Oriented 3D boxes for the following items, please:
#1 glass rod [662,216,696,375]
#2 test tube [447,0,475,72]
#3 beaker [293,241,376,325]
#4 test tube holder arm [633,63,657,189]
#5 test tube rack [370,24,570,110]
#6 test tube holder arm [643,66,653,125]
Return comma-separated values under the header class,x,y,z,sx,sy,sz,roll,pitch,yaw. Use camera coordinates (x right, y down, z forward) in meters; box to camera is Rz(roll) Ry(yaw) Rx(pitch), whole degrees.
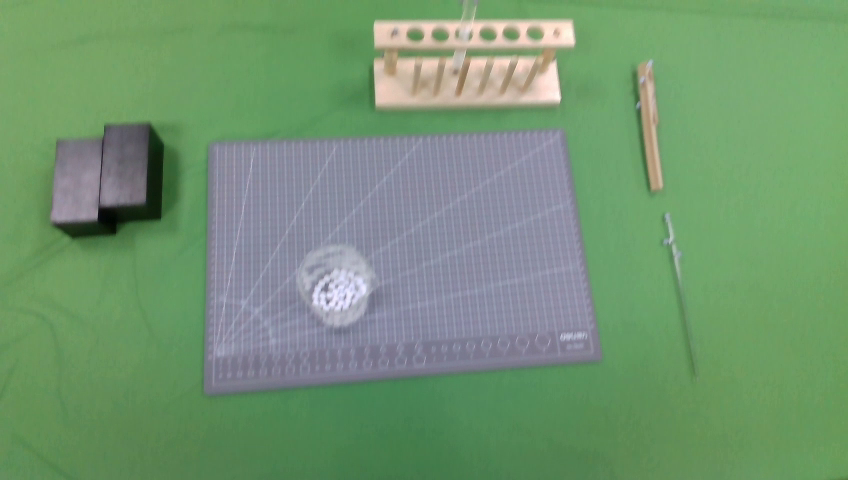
class,x,y,z,sx,sy,sz,roll,pitch,yaw
glass rod,0.311,0.064,0.741,0.008,0.008,0.198,-2,73,-6
test tube,0.044,-0.251,0.723,0.017,0.151,0.017,2,68,-5
beaker,-0.094,0.051,0.657,0.084,0.100,0.073,5,72,-4
test tube holder arm,0.291,-0.152,0.799,0.013,0.015,0.177,12,70,-32
test tube rack,0.055,-0.217,0.765,0.243,0.085,0.066,-2,72,-6
test tube holder arm,0.297,-0.194,0.815,0.010,0.015,0.087,12,69,-32
